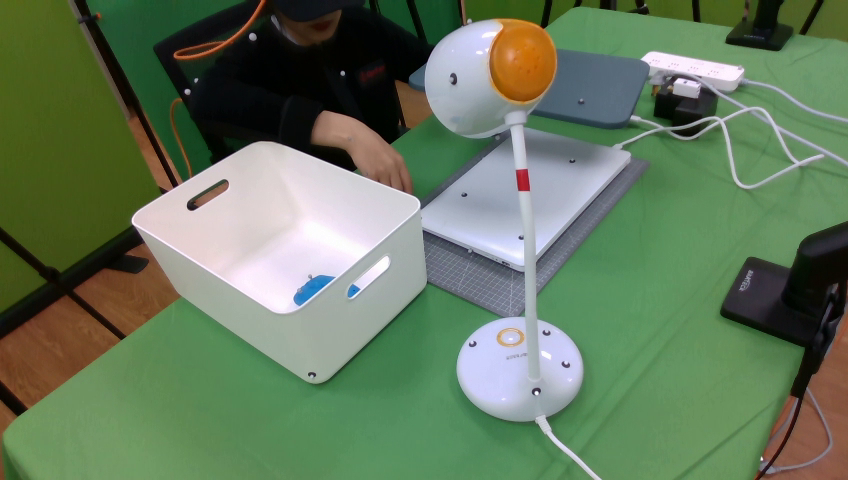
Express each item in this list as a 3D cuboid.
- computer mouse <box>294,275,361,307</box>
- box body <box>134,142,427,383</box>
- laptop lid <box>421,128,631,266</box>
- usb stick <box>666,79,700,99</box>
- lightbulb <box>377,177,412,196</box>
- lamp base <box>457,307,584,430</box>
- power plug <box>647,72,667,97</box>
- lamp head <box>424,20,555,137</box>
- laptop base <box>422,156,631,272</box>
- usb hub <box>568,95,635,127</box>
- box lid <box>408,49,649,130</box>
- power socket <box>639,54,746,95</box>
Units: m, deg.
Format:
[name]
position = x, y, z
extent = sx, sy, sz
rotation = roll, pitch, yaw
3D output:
[computer mouse]
position = -0.138, 0.084, 0.891
extent = 0.116, 0.041, 0.063
rotation = 19, 49, 37
[box body]
position = -0.201, 0.018, 0.896
extent = 0.361, 0.161, 0.255
rotation = 23, 50, 33
[laptop lid]
position = 0.173, -0.093, 1.049
extent = 0.239, 0.013, 0.358
rotation = 23, 49, 36
[usb stick]
position = 0.492, -0.288, 1.152
extent = 0.058, 0.027, 0.021
rotation = 20, 50, 34
[lightbulb]
position = -0.066, -0.086, 1.083
extent = 0.060, 0.060, 0.106
rotation = -38, 32, -29
[lamp base]
position = 0.115, 0.108, 0.713
extent = 0.161, 0.181, 0.178
rotation = -17, 43, -8
[power plug]
position = 0.493, -0.321, 1.261
extent = 0.073, 0.052, 0.035
rotation = 1, 20, -42
[lamp head]
position = 0.069, -0.153, 0.572
extent = 0.113, 0.112, 0.122
rotation = -21, 16, -14
[laptop base]
position = 0.176, -0.083, 1.055
extent = 0.233, 0.023, 0.355
rotation = 21, 48, 36
[usb hub]
position = 0.360, -0.263, 1.228
extent = 0.124, 0.025, 0.049
rotation = 24, 50, 34
[box lid]
position = 0.186, -0.280, 1.043
extent = 0.370, 0.015, 0.263
rotation = 16, 41, 19
[power socket]
position = 0.564, -0.357, 1.293
extent = 0.225, 0.033, 0.072
rotation = 24, 51, 33
